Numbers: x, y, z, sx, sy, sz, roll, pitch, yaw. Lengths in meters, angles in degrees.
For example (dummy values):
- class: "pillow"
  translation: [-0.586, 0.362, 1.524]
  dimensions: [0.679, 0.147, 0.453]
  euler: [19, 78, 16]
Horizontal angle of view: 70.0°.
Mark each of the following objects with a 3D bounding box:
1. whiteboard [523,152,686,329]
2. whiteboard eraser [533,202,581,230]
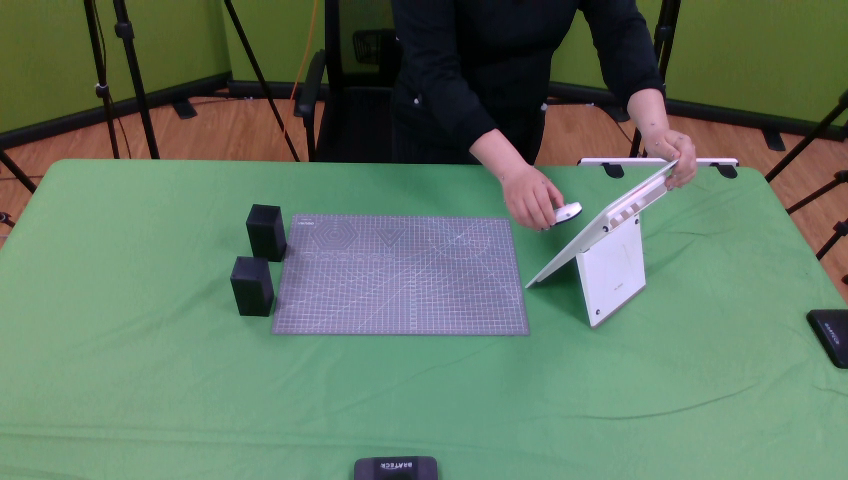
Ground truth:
- class: "whiteboard"
  translation: [0.346, 0.024, 1.047]
  dimensions: [0.217, 0.306, 0.143]
  euler: [-30, 73, -29]
- class: "whiteboard eraser"
  translation: [0.230, -0.042, 1.050]
  dimensions: [0.041, 0.101, 0.019]
  euler: [-40, 100, -34]
